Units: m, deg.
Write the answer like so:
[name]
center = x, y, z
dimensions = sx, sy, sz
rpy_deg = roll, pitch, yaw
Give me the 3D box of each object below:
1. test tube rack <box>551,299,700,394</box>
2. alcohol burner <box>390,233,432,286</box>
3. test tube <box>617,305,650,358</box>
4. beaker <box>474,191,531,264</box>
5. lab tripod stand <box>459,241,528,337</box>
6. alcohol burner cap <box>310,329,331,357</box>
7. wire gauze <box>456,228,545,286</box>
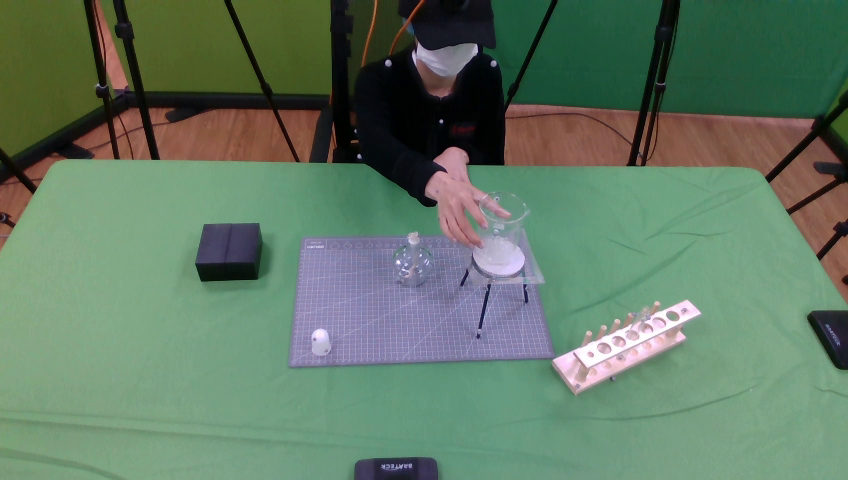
[test tube rack]
center = 0.339, 0.166, 1.021
dimensions = 0.242, 0.085, 0.066
rpy_deg = -19, 50, -21
[alcohol burner]
center = -0.022, 0.028, 1.102
dimensions = 0.078, 0.119, 0.077
rpy_deg = 2, 48, -2
[test tube]
center = 0.333, 0.149, 0.967
dimensions = 0.017, 0.151, 0.017
rpy_deg = 0, 52, 1
[beaker]
center = 0.122, -0.017, 0.974
dimensions = 0.084, 0.101, 0.073
rpy_deg = 2, 45, -3
[lab tripod stand]
center = 0.122, 0.075, 1.054
dimensions = 0.148, 0.132, 0.147
rpy_deg = 3, 44, -3
[alcohol burner cap]
center = -0.173, 0.168, 1.005
dimensions = 0.034, 0.048, 0.033
rpy_deg = 2, 46, -2
[wire gauze]
center = 0.126, 0.029, 1.006
dimensions = 0.125, 0.011, 0.120
rpy_deg = -4, 47, -10
